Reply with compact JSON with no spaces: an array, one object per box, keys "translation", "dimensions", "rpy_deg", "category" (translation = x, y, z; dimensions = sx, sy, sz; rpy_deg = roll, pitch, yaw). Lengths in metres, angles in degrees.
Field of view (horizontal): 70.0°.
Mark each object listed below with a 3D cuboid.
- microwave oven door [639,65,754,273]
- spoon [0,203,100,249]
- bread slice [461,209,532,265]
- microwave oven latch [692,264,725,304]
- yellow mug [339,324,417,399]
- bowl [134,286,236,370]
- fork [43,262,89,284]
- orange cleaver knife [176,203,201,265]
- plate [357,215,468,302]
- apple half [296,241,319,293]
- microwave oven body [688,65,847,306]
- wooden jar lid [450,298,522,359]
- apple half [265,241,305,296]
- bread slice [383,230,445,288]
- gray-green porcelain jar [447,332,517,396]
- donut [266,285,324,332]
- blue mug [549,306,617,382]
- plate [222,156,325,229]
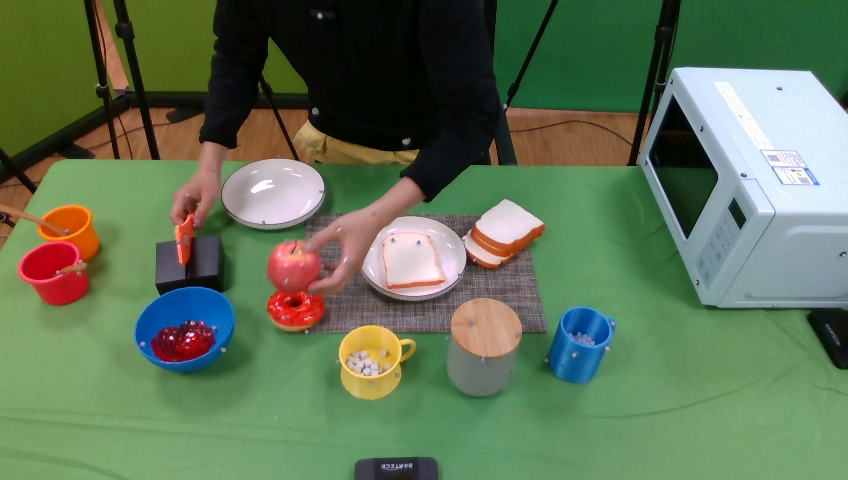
[{"translation":[0.522,-0.147,1.193],"dimensions":[0.039,0.245,0.353],"rpy_deg":[0,47,-3],"category":"microwave oven door"},{"translation":[-0.683,-0.031,1.088],"dimensions":[0.021,0.195,0.041],"rpy_deg":[-35,43,25],"category":"spoon"},{"translation":[0.135,-0.004,1.193],"dimensions":[0.104,0.019,0.131],"rpy_deg":[30,51,26],"category":"bread slice"},{"translation":[0.522,0.081,1.115],"dimensions":[0.030,0.029,0.078],"rpy_deg":[2,46,-2],"category":"microwave oven latch"},{"translation":[-0.072,0.190,0.978],"dimensions":[0.131,0.064,0.099],"rpy_deg":[-17,50,-20],"category":"yellow mug"},{"translation":[-0.377,0.155,0.981],"dimensions":[0.151,0.077,0.150],"rpy_deg":[2,46,-2],"category":"bowl"},{"translation":[-0.599,0.053,1.013],"dimensions":[0.207,0.019,0.028],"rpy_deg":[-14,30,45],"category":"fork"},{"translation":[-0.430,-0.015,1.119],"dimensions":[0.012,0.077,0.210],"rpy_deg":[-7,20,-9],"category":"orange cleaver knife"},{"translation":[-0.022,0.037,1.141],"dimensions":[0.208,0.039,0.206],"rpy_deg":[2,46,-2],"category":"plate"},{"translation":[-0.182,0.042,0.948],"dimensions":[0.033,0.081,0.080],"rpy_deg":[-5,46,-24],"category":"apple half"},{"translation":[0.669,-0.111,1.176],"dimensions":[0.326,0.261,0.439],"rpy_deg":[0,46,-3],"category":"microwave oven body"},{"translation":[0.093,0.135,0.914],"dimensions":[0.108,0.021,0.107],"rpy_deg":[3,48,-3],"category":"wooden jar lid"},{"translation":[-0.217,0.046,0.930],"dimensions":[0.053,0.075,0.080],"rpy_deg":[-6,48,-24],"category":"apple half"},{"translation":[-0.029,0.035,1.145],"dimensions":[0.107,0.018,0.133],"rpy_deg":[-7,48,-12],"category":"bread slice"},{"translation":[0.090,0.178,0.960],"dimensions":[0.106,0.127,0.105],"rpy_deg":[2,46,-2],"category":"gray-green porcelain jar"},{"translation":[-0.222,0.115,1.049],"dimensions":[0.099,0.048,0.098],"rpy_deg":[2,45,-2],"category":"donut"},{"translation":[0.269,0.166,0.998],"dimensions":[0.116,0.106,0.082],"rpy_deg":[-19,51,-21],"category":"blue mug"},{"translation":[-0.308,-0.095,1.251],"dimensions":[0.209,0.038,0.208],"rpy_deg":[3,47,-3],"category":"plate"}]
